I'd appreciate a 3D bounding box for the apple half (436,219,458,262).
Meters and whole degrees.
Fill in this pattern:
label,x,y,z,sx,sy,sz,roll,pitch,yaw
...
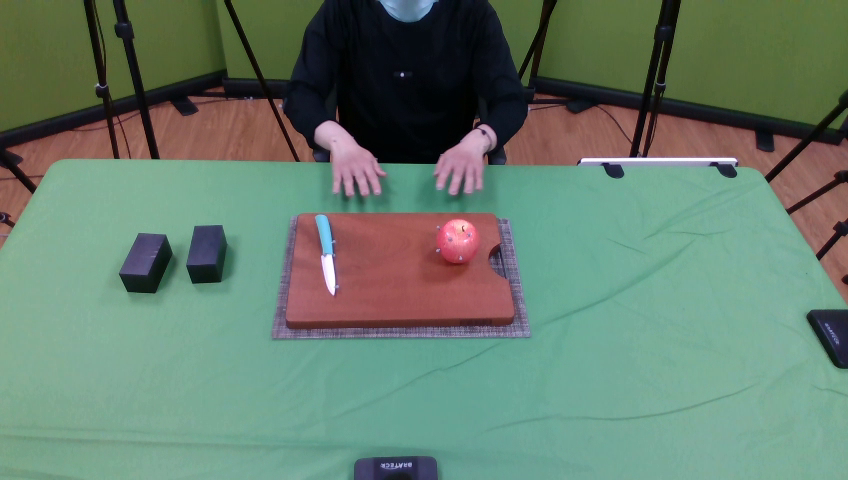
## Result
label,x,y,z,sx,sy,sz,roll,pitch,yaw
apple half,0.039,0.005,1.115,0.033,0.081,0.080,-2,46,-11

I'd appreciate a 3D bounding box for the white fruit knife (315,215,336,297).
label,x,y,z,sx,sy,sz,roll,pitch,yaw
white fruit knife,-0.180,0.025,1.124,0.027,0.016,0.206,-27,48,12

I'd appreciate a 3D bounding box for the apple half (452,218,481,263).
label,x,y,z,sx,sy,sz,roll,pitch,yaw
apple half,0.077,0.003,1.122,0.053,0.075,0.080,-1,42,-11
